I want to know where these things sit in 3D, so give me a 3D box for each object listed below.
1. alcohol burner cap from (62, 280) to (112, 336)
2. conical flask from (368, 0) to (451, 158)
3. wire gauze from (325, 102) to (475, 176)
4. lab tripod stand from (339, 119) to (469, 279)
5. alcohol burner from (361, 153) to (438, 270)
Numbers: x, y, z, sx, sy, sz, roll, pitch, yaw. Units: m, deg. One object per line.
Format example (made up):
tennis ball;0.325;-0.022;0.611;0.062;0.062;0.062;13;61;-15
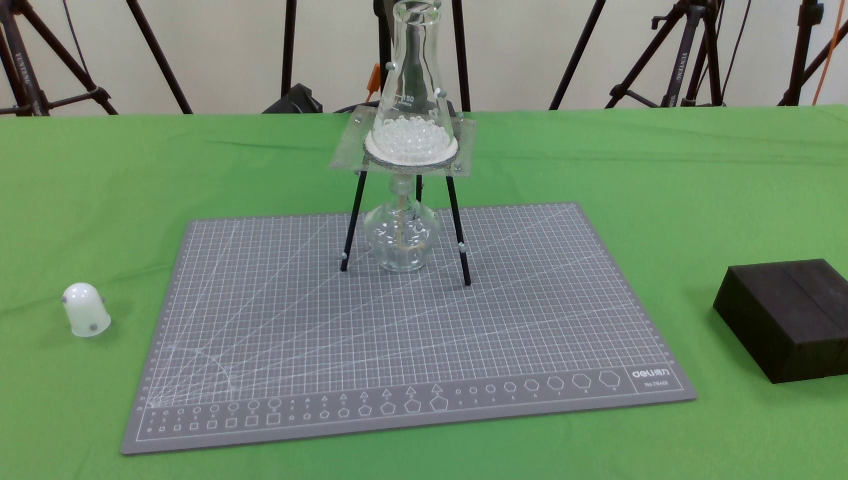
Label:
alcohol burner cap;-0.296;0.057;0.528;0.034;0.048;0.033;2;37;-1
conical flask;-0.010;-0.138;0.514;0.075;0.123;0.074;2;38;-2
wire gauze;-0.016;-0.092;0.553;0.121;0.011;0.124;6;39;4
lab tripod stand;-0.012;-0.039;0.593;0.148;0.132;0.147;3;36;-2
alcohol burner;-0.024;-0.030;0.597;0.078;0.120;0.077;1;35;0
